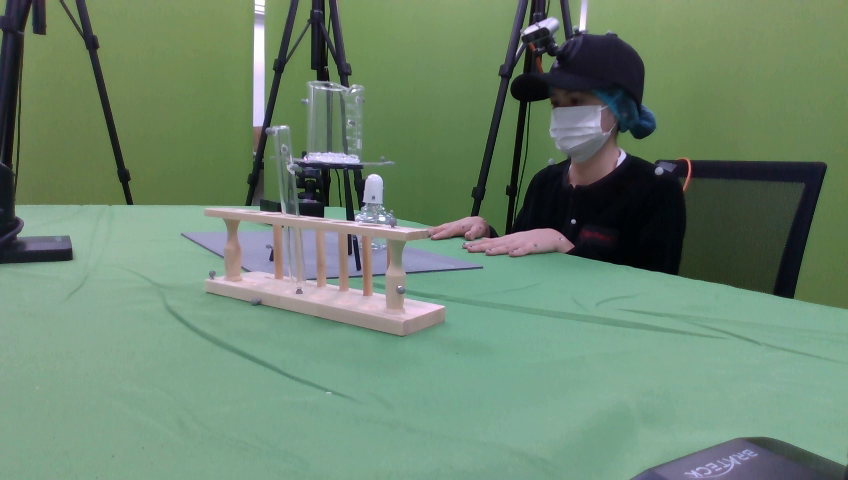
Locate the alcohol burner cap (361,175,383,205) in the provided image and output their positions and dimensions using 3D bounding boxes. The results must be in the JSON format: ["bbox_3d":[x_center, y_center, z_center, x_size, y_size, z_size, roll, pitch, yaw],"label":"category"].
[{"bbox_3d":[-0.080,-0.078,0.945,0.034,0.048,0.034,5,7,0],"label":"alcohol burner cap"}]

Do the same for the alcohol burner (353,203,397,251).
[{"bbox_3d":[-0.082,-0.043,0.950,0.078,0.119,0.078,1,8,0],"label":"alcohol burner"}]

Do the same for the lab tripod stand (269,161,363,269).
[{"bbox_3d":[-0.125,-0.036,0.794,0.148,0.131,0.148,5,7,0],"label":"lab tripod stand"}]

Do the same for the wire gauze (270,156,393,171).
[{"bbox_3d":[-0.122,-0.100,0.786,0.122,0.011,0.124,-5,14,-38],"label":"wire gauze"}]

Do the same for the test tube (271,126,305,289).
[{"bbox_3d":[-0.124,-0.028,0.554,0.017,0.150,0.017,-5,7,1],"label":"test tube"}]

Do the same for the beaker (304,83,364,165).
[{"bbox_3d":[-0.115,-0.148,0.779,0.074,0.100,0.083,-2,10,-30],"label":"beaker"}]

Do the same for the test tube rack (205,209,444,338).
[{"bbox_3d":[-0.100,0.021,0.565,0.241,0.085,0.067,7,8,32],"label":"test tube rack"}]
